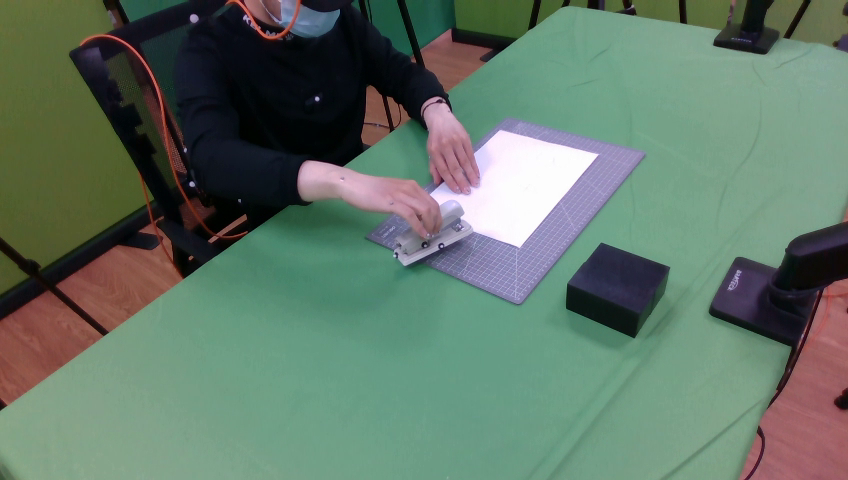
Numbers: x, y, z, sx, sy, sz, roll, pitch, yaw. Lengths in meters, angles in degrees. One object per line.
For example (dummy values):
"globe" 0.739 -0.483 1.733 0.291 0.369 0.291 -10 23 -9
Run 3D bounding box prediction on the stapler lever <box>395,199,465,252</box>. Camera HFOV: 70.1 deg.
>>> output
"stapler lever" 0.009 -0.024 0.921 0.118 0.040 0.026 -27 38 -16

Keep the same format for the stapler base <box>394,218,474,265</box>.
"stapler base" 0.015 -0.006 0.938 0.131 0.024 0.041 -27 38 -16
